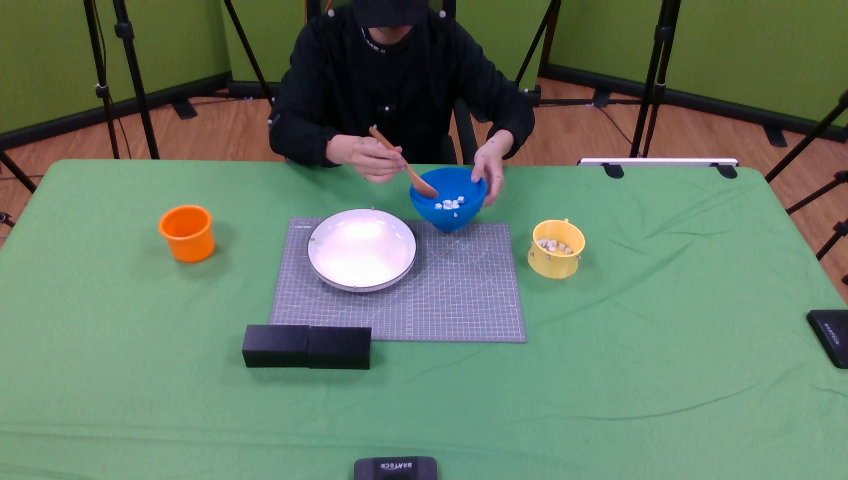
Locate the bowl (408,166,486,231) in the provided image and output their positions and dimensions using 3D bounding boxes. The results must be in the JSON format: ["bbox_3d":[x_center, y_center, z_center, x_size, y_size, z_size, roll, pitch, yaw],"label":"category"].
[{"bbox_3d":[0.047,-0.071,1.181,0.151,0.077,0.150,-5,38,4],"label":"bowl"}]

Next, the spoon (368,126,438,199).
[{"bbox_3d":[-0.040,-0.141,1.126,0.041,0.195,0.021,-11,39,46],"label":"spoon"}]

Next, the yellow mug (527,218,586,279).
[{"bbox_3d":[0.261,0.006,1.181,0.100,0.064,0.130,18,47,14],"label":"yellow mug"}]

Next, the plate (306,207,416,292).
[{"bbox_3d":[-0.119,0.021,1.153,0.209,0.038,0.208,2,46,-2],"label":"plate"}]
